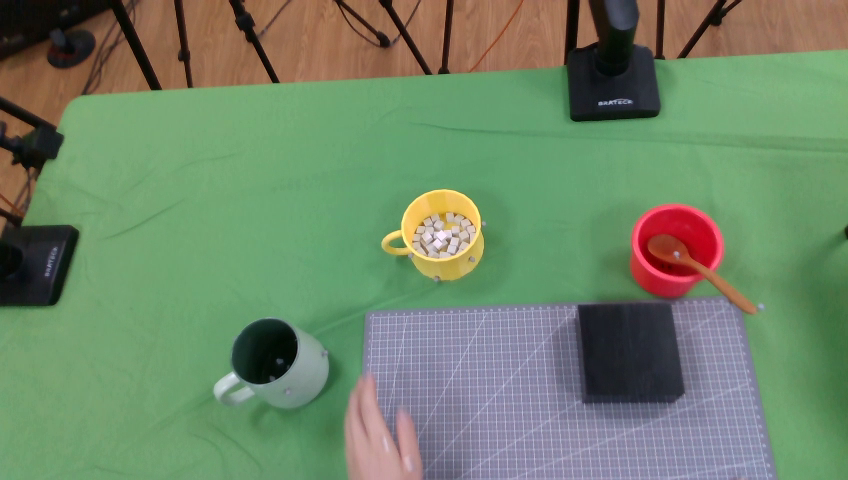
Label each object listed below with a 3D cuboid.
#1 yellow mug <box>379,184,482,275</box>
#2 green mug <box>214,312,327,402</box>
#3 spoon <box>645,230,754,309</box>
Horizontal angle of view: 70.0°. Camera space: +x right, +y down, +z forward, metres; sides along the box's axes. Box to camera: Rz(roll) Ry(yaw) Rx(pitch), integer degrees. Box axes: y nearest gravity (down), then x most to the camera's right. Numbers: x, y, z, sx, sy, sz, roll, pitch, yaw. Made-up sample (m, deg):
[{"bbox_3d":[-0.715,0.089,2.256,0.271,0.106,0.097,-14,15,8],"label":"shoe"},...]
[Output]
[{"bbox_3d":[0.007,-0.009,0.769,0.131,0.064,0.099,-11,65,4],"label":"yellow mug"},{"bbox_3d":[-0.182,0.145,0.705,0.125,0.106,0.091,-33,66,-7],"label":"green mug"},{"bbox_3d":[0.298,0.028,0.666,0.041,0.192,0.022,-13,109,-1],"label":"spoon"}]
